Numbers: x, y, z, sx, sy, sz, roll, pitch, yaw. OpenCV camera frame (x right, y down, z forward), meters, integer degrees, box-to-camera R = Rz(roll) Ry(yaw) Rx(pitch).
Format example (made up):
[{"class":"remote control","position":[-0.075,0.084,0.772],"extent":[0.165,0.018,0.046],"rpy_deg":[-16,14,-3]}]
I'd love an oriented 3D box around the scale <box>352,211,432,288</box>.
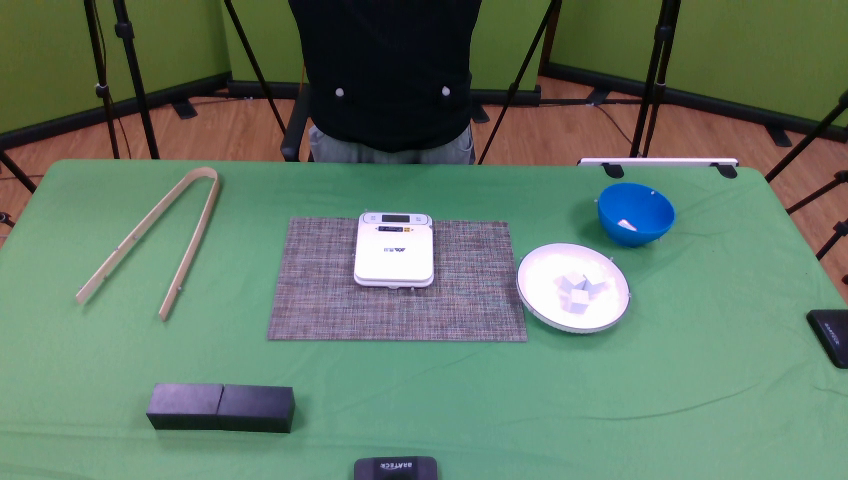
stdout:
[{"class":"scale","position":[-0.060,0.010,1.171],"extent":[0.149,0.032,0.199],"rpy_deg":[2,46,-3]}]

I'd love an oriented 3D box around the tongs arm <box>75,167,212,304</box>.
[{"class":"tongs arm","position":[-0.526,-0.021,1.167],"extent":[0.051,0.026,0.383],"rpy_deg":[14,46,6]}]

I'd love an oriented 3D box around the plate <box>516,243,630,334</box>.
[{"class":"plate","position":[0.271,0.092,1.120],"extent":[0.208,0.039,0.206],"rpy_deg":[2,46,-2]}]

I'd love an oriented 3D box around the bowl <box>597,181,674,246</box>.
[{"class":"bowl","position":[0.418,-0.042,1.230],"extent":[0.151,0.077,0.150],"rpy_deg":[2,46,-2]}]

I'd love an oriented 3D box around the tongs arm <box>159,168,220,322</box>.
[{"class":"tongs arm","position":[-0.446,-0.004,1.165],"extent":[0.028,0.028,0.385],"rpy_deg":[2,46,0]}]
